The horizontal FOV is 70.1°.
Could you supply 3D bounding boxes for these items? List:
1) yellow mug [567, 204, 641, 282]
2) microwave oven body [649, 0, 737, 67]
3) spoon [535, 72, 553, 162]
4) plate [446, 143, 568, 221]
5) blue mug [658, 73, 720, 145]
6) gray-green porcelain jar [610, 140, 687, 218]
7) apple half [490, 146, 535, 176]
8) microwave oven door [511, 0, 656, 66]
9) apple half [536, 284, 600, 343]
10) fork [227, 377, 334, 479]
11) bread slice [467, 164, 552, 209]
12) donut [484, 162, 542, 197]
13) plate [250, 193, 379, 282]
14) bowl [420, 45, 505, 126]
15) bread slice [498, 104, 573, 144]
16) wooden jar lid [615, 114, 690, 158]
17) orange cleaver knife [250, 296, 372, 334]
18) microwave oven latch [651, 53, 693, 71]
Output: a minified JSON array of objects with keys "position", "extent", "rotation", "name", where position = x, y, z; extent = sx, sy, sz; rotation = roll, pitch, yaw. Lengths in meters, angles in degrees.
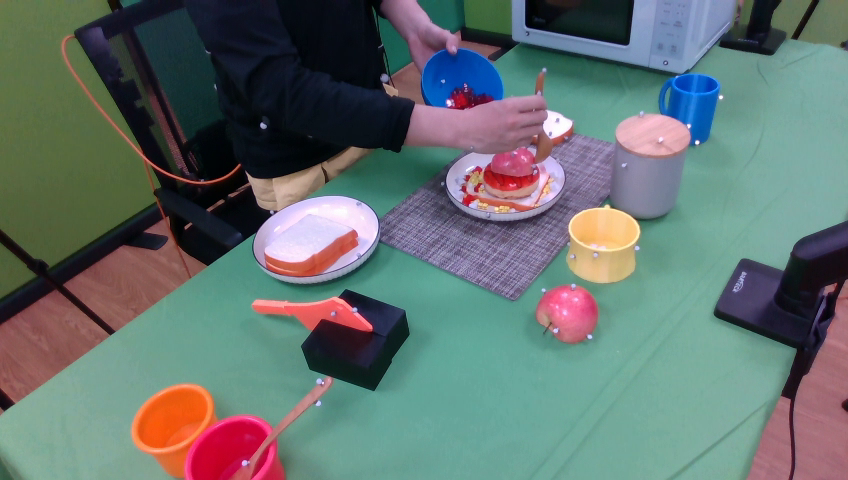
[{"position":[0.268,-0.005,0.905],"extent":[0.099,0.064,0.130],"rotation":[7,42,15],"name":"yellow mug"},{"position":[0.475,-0.602,1.411],"extent":[0.438,0.261,0.327],"rotation":[23,50,32],"name":"microwave oven body"},{"position":[0.176,-0.179,0.907],"extent":[0.041,0.195,0.021],"rotation":[-41,58,-12],"name":"spoon"},{"position":[0.142,-0.097,1.045],"extent":[0.207,0.039,0.206],"rotation":[-4,40,4],"name":"plate"},{"position":[0.483,-0.250,1.127],"extent":[0.082,0.106,0.115],"rotation":[-26,44,-19],"name":"blue mug"},{"position":[0.354,-0.106,0.964],"extent":[0.106,0.127,0.105],"rotation":[-4,41,4],"name":"gray-green porcelain jar"},{"position":[0.146,-0.137,0.994],"extent":[0.081,0.033,0.081],"rotation":[-2,34,2],"name":"apple half"},{"position":[0.350,-0.539,1.348],"extent":[0.353,0.245,0.039],"rotation":[24,50,31],"name":"microwave oven door"},{"position":[0.196,0.091,0.815],"extent":[0.075,0.053,0.080],"rotation":[-22,42,-20],"name":"apple half"},{"position":[-0.162,0.216,0.647],"extent":[0.207,0.019,0.028],"rotation":[-49,41,16],"name":"fork"},{"position":[0.143,-0.095,1.041],"extent":[0.133,0.018,0.107],"rotation":[7,41,20],"name":"bread slice"},{"position":[0.149,-0.109,1.016],"extent":[0.099,0.048,0.098],"rotation":[-4,39,4],"name":"donut"},{"position":[-0.174,-0.001,0.984],"extent":[0.209,0.038,0.208],"rotation":[-3,40,3],"name":"plate"},{"position":[0.060,-0.260,1.078],"extent":[0.152,0.077,0.151],"rotation":[5,70,-12],"name":"bowl"},{"position":[0.231,-0.231,1.205],"extent":[0.105,0.019,0.130],"rotation":[-36,47,-28],"name":"bread slice"},{"position":[0.347,-0.155,0.923],"extent":[0.108,0.021,0.108],"rotation":[-3,44,4],"name":"wooden jar lid"},{"position":[-0.159,0.103,0.828],"extent":[0.210,0.078,0.012],"rotation":[-4,43,39],"name":"orange cleaver knife"},{"position":[0.532,-0.387,1.301],"extent":[0.078,0.029,0.030],"rotation":[27,52,34],"name":"microwave oven latch"}]
